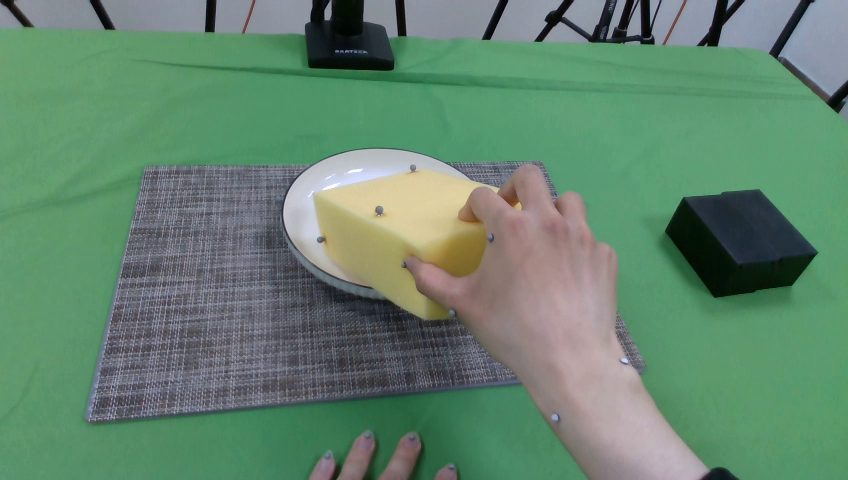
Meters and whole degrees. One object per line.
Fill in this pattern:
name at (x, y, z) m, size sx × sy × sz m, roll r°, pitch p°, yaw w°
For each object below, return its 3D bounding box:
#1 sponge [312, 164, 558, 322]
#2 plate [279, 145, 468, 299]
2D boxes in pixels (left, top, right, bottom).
sponge at (-0.001, -0.010, 0.506) m, size 0.118 × 0.061 × 0.205 m, roll -16°, pitch 22°, yaw -26°
plate at (-0.036, -0.018, 0.599) m, size 0.208 × 0.039 × 0.205 m, roll 5°, pitch 44°, yaw -5°
